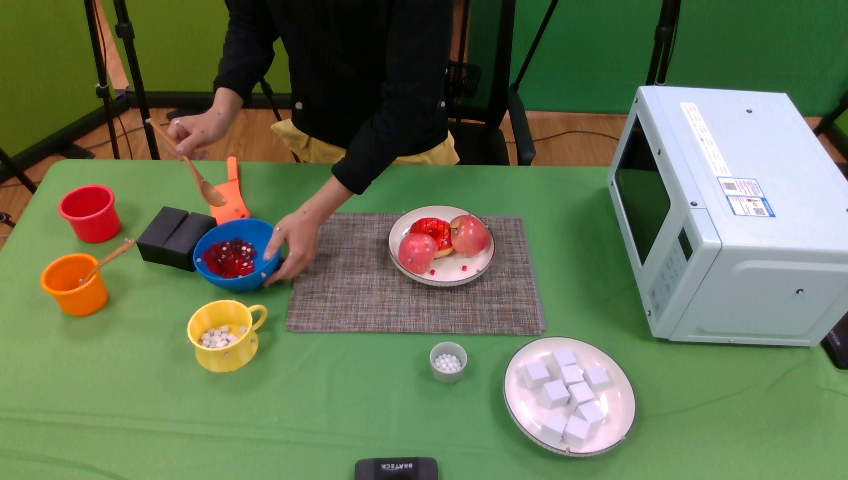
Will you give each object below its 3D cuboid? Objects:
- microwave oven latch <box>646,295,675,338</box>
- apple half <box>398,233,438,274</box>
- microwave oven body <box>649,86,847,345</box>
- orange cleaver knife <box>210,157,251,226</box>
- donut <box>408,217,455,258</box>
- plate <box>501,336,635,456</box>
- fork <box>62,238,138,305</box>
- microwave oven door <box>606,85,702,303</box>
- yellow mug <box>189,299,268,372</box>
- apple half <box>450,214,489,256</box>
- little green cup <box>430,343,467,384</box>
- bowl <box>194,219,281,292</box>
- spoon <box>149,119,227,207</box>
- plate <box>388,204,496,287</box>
[{"bbox_3d":[0.412,0.134,1.061,0.030,0.029,0.078,4,45,1],"label":"microwave oven latch"},{"bbox_3d":[-0.016,0.022,1.123,0.081,0.033,0.081,-2,83,14],"label":"apple half"},{"bbox_3d":[0.568,-0.053,1.118,0.326,0.261,0.439,2,45,-1],"label":"microwave oven body"},{"bbox_3d":[-0.409,-0.099,1.266,0.077,0.012,0.210,-13,50,-10],"label":"orange cleaver knife"},{"bbox_3d":[0.018,-0.006,1.174,0.099,0.048,0.098,4,42,-3],"label":"donut"},{"bbox_3d":[0.225,0.248,0.964,0.208,0.039,0.206,2,46,-2],"label":"plate"},{"bbox_3d":[-0.547,0.053,1.018,0.207,0.019,0.028,-36,41,23],"label":"fork"},{"bbox_3d":[0.423,-0.094,1.140,0.039,0.245,0.353,2,46,-1],"label":"microwave oven door"},{"bbox_3d":[-0.316,0.148,1.002,0.131,0.064,0.099,-33,56,-31],"label":"yellow mug"},{"bbox_3d":[0.092,-0.013,1.158,0.075,0.053,0.080,34,39,-28],"label":"apple half"},{"bbox_3d":[0.039,0.203,0.994,0.061,0.039,0.061,2,46,-2],"label":"little green cup"},{"bbox_3d":[-0.327,0.040,1.093,0.151,0.077,0.150,-1,46,2],"label":"bowl"},{"bbox_3d":[-0.421,-0.137,1.083,0.021,0.194,0.041,-25,17,30],"label":"spoon"},{"bbox_3d":[0.033,0.014,1.171,0.209,0.038,0.208,2,46,-2],"label":"plate"}]
